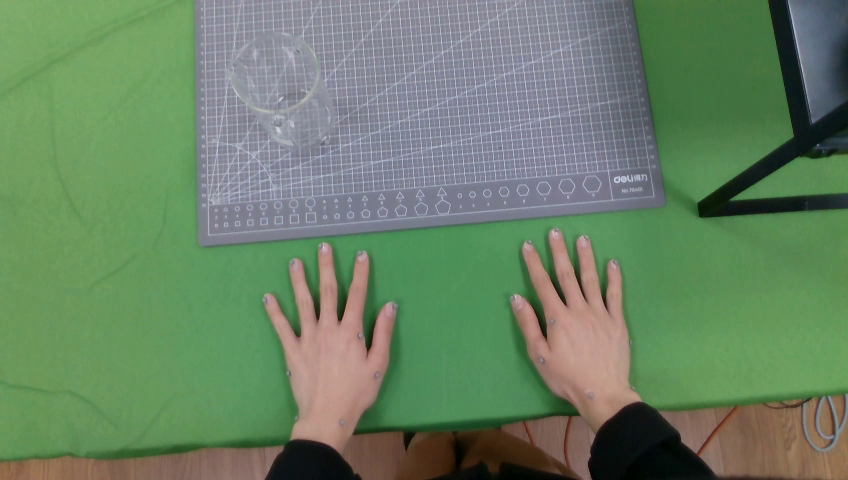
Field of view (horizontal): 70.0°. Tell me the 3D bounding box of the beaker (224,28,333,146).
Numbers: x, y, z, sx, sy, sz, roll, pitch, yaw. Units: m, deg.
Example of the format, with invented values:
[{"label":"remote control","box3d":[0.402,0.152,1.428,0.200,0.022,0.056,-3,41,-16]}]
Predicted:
[{"label":"beaker","box3d":[-0.128,-0.134,0.556,0.084,0.100,0.073,5,78,2]}]
